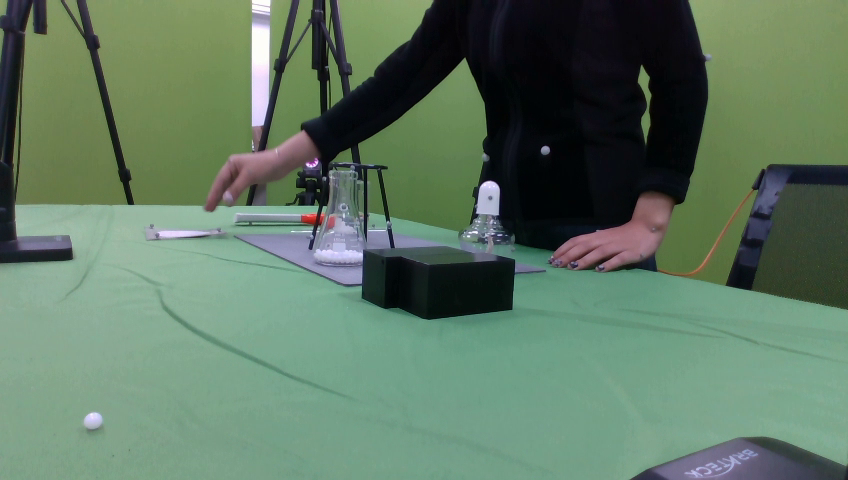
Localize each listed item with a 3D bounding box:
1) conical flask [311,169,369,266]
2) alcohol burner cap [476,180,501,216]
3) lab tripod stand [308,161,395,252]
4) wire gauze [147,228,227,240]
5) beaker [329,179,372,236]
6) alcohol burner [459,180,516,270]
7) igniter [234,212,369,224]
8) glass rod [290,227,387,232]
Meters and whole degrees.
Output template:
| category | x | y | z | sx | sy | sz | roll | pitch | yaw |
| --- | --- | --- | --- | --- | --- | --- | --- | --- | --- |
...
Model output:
| category | x | y | z | sx | sy | sz | roll | pitch | yaw |
| --- | --- | --- | --- | --- | --- | --- | --- | --- | --- |
| conical flask | -0.108 | -0.031 | 0.786 | 0.075 | 0.122 | 0.075 | 2 | 8 | 0 |
| alcohol burner cap | 0.086 | -0.056 | 0.801 | 0.034 | 0.048 | 0.034 | 4 | 2 | 0 |
| lab tripod stand | -0.099 | -0.053 | 0.918 | 0.148 | 0.131 | 0.148 | 4 | 7 | 0 |
| wire gauze | -0.400 | -0.012 | 1.018 | 0.122 | 0.011 | 0.124 | -1 | 6 | -26 |
| beaker | -0.137 | -0.060 | 1.101 | 0.084 | 0.100 | 0.074 | 4 | 7 | 20 |
| alcohol burner | 0.085 | -0.021 | 0.805 | 0.078 | 0.119 | 0.078 | 3 | 9 | 0 |
| igniter | -0.247 | -0.046 | 1.253 | 0.278 | 0.025 | 0.057 | -1 | -3 | -27 |
| glass rod | -0.162 | -0.022 | 1.177 | 0.201 | 0.008 | 0.008 | -2 | 8 | -28 |
